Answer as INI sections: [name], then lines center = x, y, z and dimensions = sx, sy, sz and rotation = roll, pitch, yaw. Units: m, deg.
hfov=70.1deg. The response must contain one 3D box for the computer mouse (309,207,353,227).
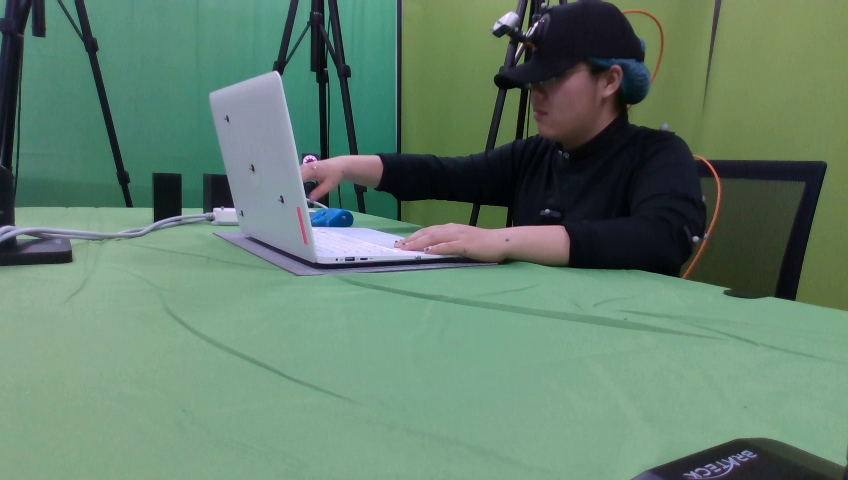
[computer mouse]
center = -0.202, -0.045, 1.275
dimensions = 0.062, 0.041, 0.117
rotation = 9, 13, 23

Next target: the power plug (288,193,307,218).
[power plug]
center = -0.281, -0.076, 1.340
dimensions = 0.035, 0.052, 0.072
rotation = 3, 6, -19

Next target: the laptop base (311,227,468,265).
[laptop base]
center = -0.123, 0.007, 0.951
dimensions = 0.237, 0.023, 0.352
rotation = 2, 6, -32

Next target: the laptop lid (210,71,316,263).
[laptop lid]
center = -0.241, -0.104, 0.861
dimensions = 0.013, 0.241, 0.355
rotation = -16, 17, -29

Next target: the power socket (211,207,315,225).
[power socket]
center = -0.334, -0.052, 1.282
dimensions = 0.228, 0.032, 0.072
rotation = -2, 9, -28

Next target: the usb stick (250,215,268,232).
[usb stick]
center = -0.290, -0.028, 1.069
dimensions = 0.021, 0.027, 0.059
rotation = -1, 12, -30
